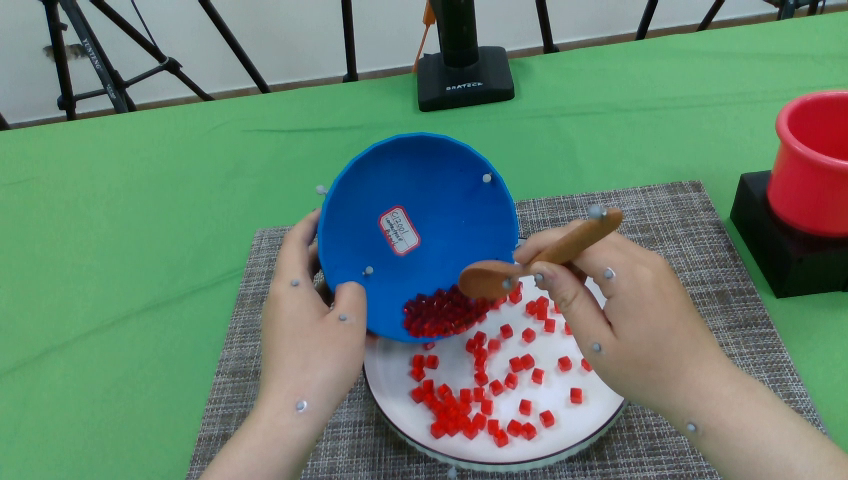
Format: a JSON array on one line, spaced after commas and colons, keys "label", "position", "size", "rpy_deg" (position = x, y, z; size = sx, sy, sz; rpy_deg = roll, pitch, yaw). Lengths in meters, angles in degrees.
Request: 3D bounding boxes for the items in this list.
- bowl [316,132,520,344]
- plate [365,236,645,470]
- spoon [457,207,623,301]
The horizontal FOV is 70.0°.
[{"label": "bowl", "position": [-0.012, -0.003, 0.461], "size": [0.151, 0.152, 0.076], "rpy_deg": [-26, 12, -15]}, {"label": "plate", "position": [0.060, 0.081, 0.467], "size": [0.207, 0.039, 0.205], "rpy_deg": [-6, 44, 6]}, {"label": "spoon", "position": [0.063, 0.015, 0.361], "size": [0.042, 0.194, 0.021], "rpy_deg": [20, 74, -10]}]
